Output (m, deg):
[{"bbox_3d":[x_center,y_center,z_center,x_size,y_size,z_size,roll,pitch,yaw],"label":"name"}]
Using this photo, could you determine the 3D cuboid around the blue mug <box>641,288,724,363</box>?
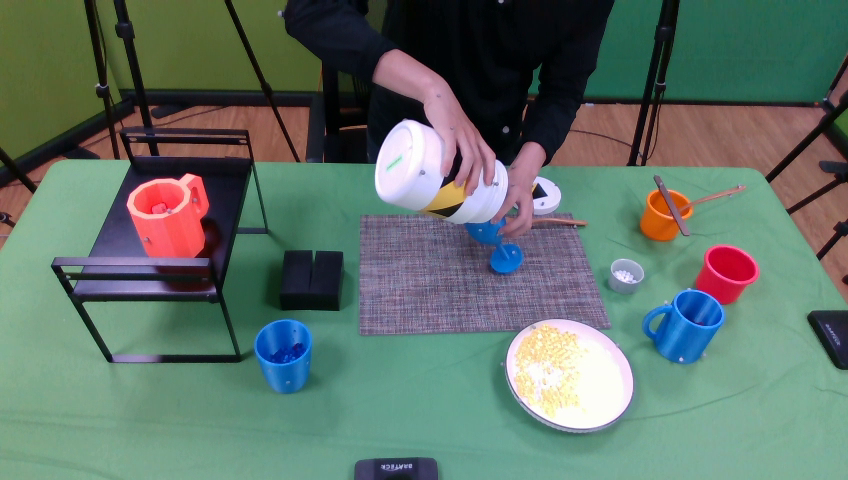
[{"bbox_3d":[0.432,0.144,1.033,0.116,0.106,0.082,9,46,5],"label":"blue mug"}]

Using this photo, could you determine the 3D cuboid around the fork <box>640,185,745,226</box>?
[{"bbox_3d":[0.534,-0.069,1.215,0.207,0.019,0.028,-26,28,33],"label":"fork"}]

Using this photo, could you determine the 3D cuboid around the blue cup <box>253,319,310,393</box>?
[{"bbox_3d":[-0.217,0.187,0.943,0.093,0.101,0.092,3,45,-3],"label":"blue cup"}]

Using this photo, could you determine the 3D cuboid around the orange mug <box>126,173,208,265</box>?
[{"bbox_3d":[-0.371,-0.039,0.902,0.083,0.101,0.126,18,52,13],"label":"orange mug"}]

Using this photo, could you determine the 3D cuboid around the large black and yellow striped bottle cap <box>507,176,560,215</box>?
[{"bbox_3d":[0.237,-0.098,1.312,0.115,0.019,0.114,2,42,-1],"label":"large black and yellow striped bottle cap"}]

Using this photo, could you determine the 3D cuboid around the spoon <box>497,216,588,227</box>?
[{"bbox_3d":[0.246,-0.039,1.247,0.194,0.022,0.041,-2,24,-6],"label":"spoon"}]

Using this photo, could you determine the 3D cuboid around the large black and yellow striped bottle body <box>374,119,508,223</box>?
[{"bbox_3d":[0.028,-0.101,0.953,0.185,0.131,0.130,14,39,-31],"label":"large black and yellow striped bottle body"}]

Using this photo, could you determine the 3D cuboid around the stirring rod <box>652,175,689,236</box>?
[{"bbox_3d":[0.491,-0.072,1.211,0.014,0.006,0.175,0,46,-7],"label":"stirring rod"}]

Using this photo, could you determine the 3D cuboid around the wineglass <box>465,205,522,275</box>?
[{"bbox_3d":[0.124,-0.012,1.087,0.073,0.173,0.073,-12,53,17],"label":"wineglass"}]

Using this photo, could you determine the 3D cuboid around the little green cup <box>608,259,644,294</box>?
[{"bbox_3d":[0.379,0.070,1.147,0.061,0.039,0.061,3,45,-3],"label":"little green cup"}]

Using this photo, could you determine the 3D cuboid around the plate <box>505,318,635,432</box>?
[{"bbox_3d":[0.235,0.221,0.991,0.209,0.038,0.208,2,45,-2],"label":"plate"}]
